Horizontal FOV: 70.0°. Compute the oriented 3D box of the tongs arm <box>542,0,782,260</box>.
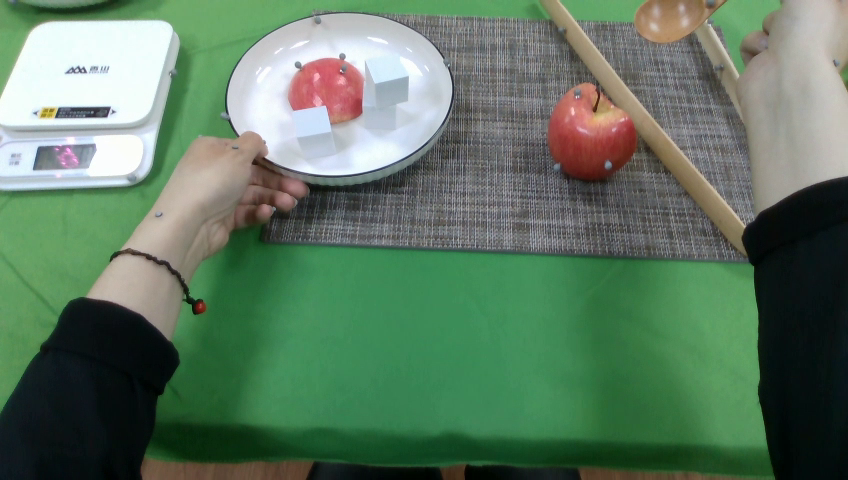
[{"bbox_3d":[0.202,-0.138,0.584,0.028,0.028,0.383,-18,61,-16],"label":"tongs arm"}]

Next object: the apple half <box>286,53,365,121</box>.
[{"bbox_3d":[-0.093,-0.151,0.571,0.081,0.033,0.080,0,57,0],"label":"apple half"}]

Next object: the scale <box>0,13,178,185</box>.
[{"bbox_3d":[-0.325,-0.141,0.581,0.149,0.032,0.199,-2,59,-2],"label":"scale"}]

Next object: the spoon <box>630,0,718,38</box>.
[{"bbox_3d":[0.250,-0.200,0.447,0.193,0.022,0.041,-21,75,19],"label":"spoon"}]

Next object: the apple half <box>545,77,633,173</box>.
[{"bbox_3d":[0.135,-0.094,0.531,0.053,0.075,0.080,-32,68,-14],"label":"apple half"}]

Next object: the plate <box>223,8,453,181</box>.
[{"bbox_3d":[-0.077,-0.135,0.567,0.209,0.038,0.207,1,59,-1],"label":"plate"}]

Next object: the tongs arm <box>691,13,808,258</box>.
[{"bbox_3d":[0.283,-0.156,0.594,0.051,0.027,0.381,-7,60,-6],"label":"tongs arm"}]
